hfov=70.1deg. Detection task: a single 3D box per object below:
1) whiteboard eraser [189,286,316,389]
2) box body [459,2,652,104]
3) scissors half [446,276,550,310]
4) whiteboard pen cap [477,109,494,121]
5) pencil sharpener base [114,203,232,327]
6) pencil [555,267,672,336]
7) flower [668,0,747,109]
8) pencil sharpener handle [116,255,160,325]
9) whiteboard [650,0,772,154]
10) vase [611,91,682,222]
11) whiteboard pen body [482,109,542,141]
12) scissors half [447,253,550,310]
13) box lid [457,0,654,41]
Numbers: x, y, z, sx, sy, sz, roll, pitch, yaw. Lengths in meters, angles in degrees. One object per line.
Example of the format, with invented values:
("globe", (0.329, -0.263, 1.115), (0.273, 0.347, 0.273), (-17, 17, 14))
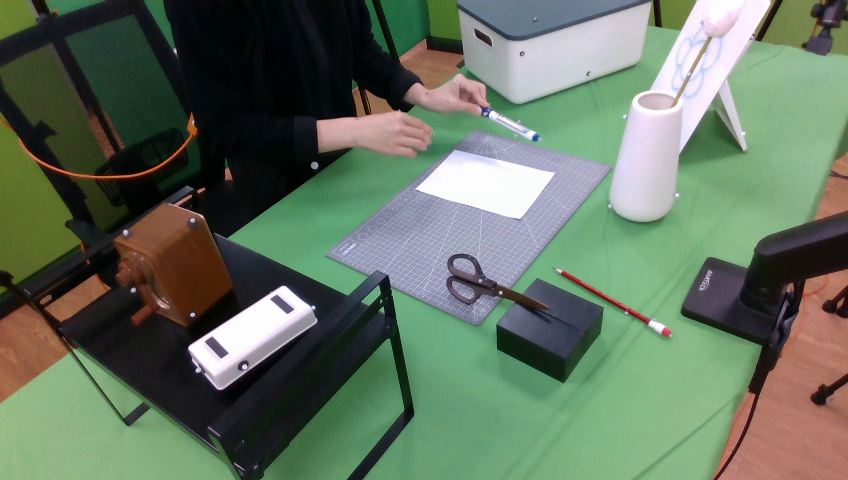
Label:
("whiteboard eraser", (-0.166, 0.096, 0.593), (0.113, 0.042, 0.055), (-36, 47, -29))
("box body", (0.291, -0.465, 1.371), (0.365, 0.161, 0.252), (-22, 42, -16))
("scissors half", (0.097, 0.077, 0.826), (0.174, 0.040, 0.013), (6, 13, 44))
("whiteboard pen cap", (0.117, -0.238, 1.148), (0.033, 0.018, 0.018), (-9, 31, 42))
("pencil sharpener base", (-0.262, 0.029, 0.635), (0.061, 0.107, 0.077), (18, 47, 26))
("pencil", (0.260, 0.082, 0.850), (0.012, 0.012, 0.192), (-33, 46, -27))
("flower", (0.354, -0.187, 0.879), (0.038, 0.362, 0.044), (31, 48, 14))
("pencil sharpener handle", (-0.286, 0.050, 0.594), (0.035, 0.068, 0.031), (7, 41, 35))
("whiteboard", (0.543, -0.298, 1.076), (0.144, 0.305, 0.216), (12, 40, -7))
("vase", (0.348, -0.125, 0.935), (0.098, 0.201, 0.097), (-3, 40, 3))
("whiteboard pen body", (0.159, -0.215, 1.115), (0.017, 0.017, 0.139), (-35, 53, -29))
("scissors half", (0.098, 0.058, 0.821), (0.173, 0.040, 0.013), (27, 32, 36))
("box lid", (0.285, -0.522, 1.323), (0.373, 0.015, 0.261), (-22, 43, -16))
